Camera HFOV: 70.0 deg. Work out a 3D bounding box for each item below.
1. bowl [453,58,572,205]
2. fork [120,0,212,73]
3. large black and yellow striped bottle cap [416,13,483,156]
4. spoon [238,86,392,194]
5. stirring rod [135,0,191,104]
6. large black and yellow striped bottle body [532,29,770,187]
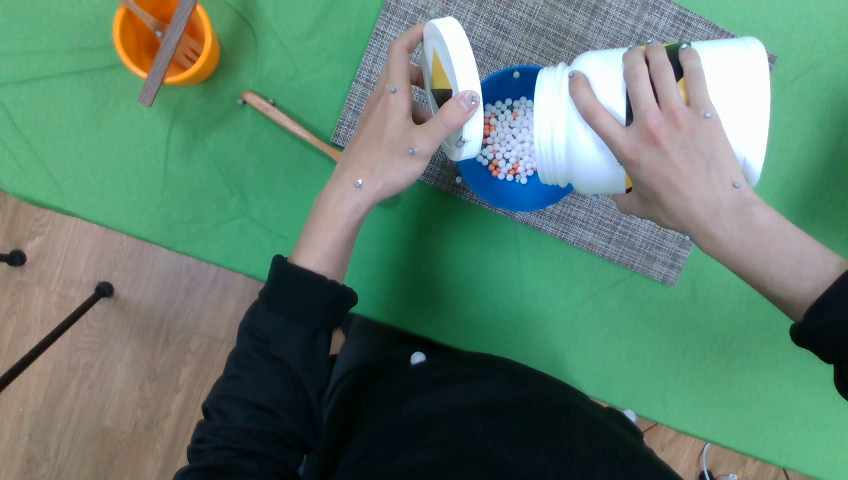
[{"bbox_3d":[0.096,-0.115,0.660,0.151,0.076,0.151,-1,99,-6],"label":"bowl"},{"bbox_3d":[-0.283,-0.228,0.566,0.028,0.018,0.209,-46,144,3],"label":"fork"},{"bbox_3d":[0.018,-0.127,0.503,0.019,0.114,0.115,-13,99,-15],"label":"large black and yellow striped bottle cap"},{"bbox_3d":[-0.119,-0.113,0.666,0.194,0.021,0.042,33,107,-11],"label":"spoon"},{"bbox_3d":[-0.234,-0.211,0.571,0.014,0.006,0.176,24,95,-11],"label":"stirring rod"},{"bbox_3d":[0.196,-0.113,0.545,0.183,0.131,0.131,1,98,19],"label":"large black and yellow striped bottle body"}]
